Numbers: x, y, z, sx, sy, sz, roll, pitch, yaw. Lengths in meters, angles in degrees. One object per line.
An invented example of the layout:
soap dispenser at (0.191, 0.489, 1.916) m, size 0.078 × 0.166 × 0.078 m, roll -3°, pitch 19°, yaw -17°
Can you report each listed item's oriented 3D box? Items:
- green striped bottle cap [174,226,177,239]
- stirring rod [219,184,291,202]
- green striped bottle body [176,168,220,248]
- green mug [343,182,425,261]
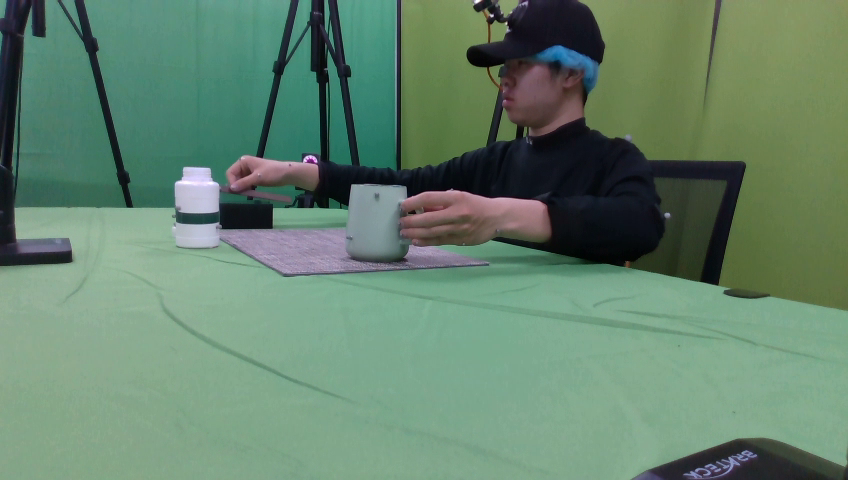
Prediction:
green striped bottle cap at (-0.405, -0.015, 1.036) m, size 0.044 × 0.020 × 0.044 m, roll -1°, pitch 9°, yaw 0°
stirring rod at (-0.354, -0.097, 1.215) m, size 0.177 × 0.014 × 0.006 m, roll 8°, pitch -18°, yaw -30°
green striped bottle body at (-0.345, -0.050, 0.924) m, size 0.063 × 0.119 × 0.063 m, roll 2°, pitch 7°, yaw 0°
green mug at (-0.053, -0.026, 0.849) m, size 0.125 × 0.105 × 0.093 m, roll 7°, pitch 8°, yaw 32°
